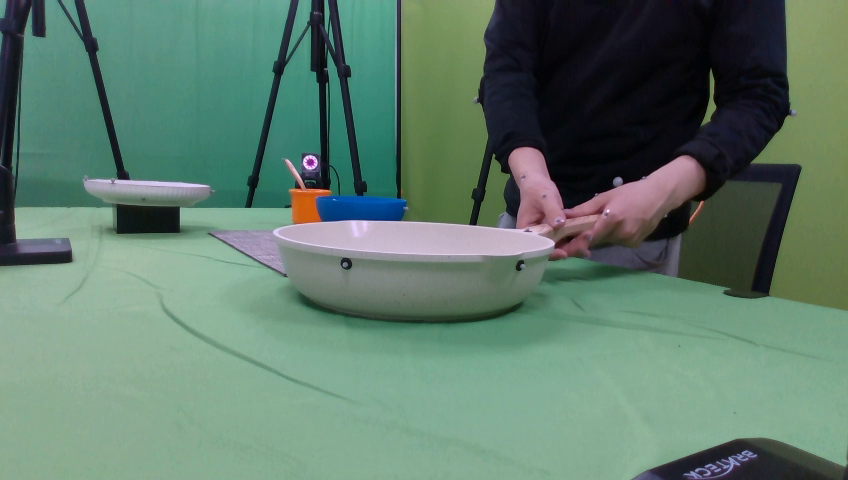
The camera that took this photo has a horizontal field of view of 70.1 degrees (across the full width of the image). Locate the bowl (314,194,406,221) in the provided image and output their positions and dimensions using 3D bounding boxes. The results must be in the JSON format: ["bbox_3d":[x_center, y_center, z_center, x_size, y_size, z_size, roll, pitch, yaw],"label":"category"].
[{"bbox_3d":[-0.105,-0.032,0.991,0.151,0.077,0.151,3,7,0],"label":"bowl"}]

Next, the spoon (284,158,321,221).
[{"bbox_3d":[-0.269,-0.113,1.335,0.042,0.193,0.021,-3,-35,-43],"label":"spoon"}]

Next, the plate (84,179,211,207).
[{"bbox_3d":[-0.495,-0.085,1.093,0.208,0.039,0.207,4,7,0],"label":"plate"}]

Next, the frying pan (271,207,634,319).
[{"bbox_3d":[0.076,0.003,0.695,0.490,0.102,0.305,-12,14,-30],"label":"frying pan"}]
